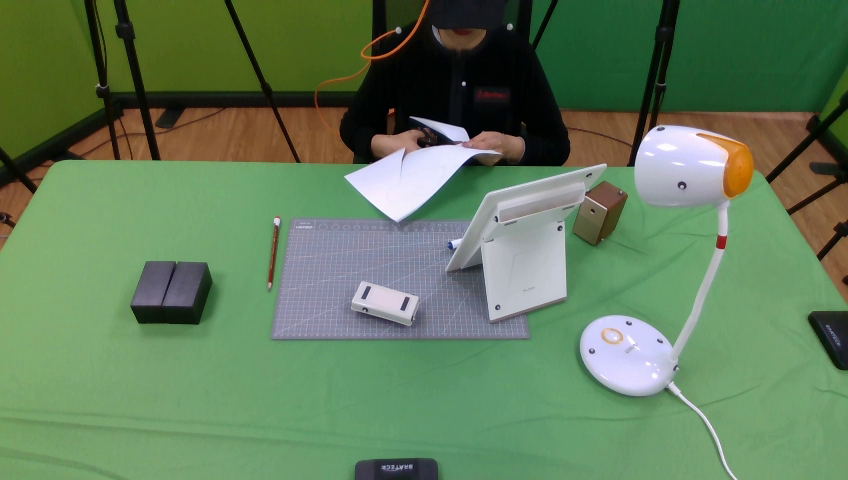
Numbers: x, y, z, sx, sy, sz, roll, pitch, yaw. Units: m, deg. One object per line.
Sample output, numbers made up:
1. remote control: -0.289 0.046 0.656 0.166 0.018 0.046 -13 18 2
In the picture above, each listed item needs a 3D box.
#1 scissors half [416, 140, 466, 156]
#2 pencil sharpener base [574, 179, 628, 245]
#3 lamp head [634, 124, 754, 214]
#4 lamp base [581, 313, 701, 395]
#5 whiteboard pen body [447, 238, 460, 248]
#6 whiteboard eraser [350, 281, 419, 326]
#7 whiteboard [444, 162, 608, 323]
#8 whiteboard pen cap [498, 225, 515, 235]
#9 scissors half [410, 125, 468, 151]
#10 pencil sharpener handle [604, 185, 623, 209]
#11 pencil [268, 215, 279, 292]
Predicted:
1. scissors half: 0.039 -0.212 1.390 0.013 0.040 0.174 -42 28 -26
2. pencil sharpener base: 0.355 -0.057 1.217 0.076 0.107 0.061 -33 56 -31
3. lamp head: 0.351 -0.089 0.775 0.112 0.113 0.122 -30 30 -28
4. lamp base: 0.361 0.144 0.972 0.178 0.181 0.160 34 53 23
5. whiteboard pen body: 0.112 -0.006 1.203 0.141 0.017 0.017 -14 49 -18
6. whiteboard eraser: -0.069 0.113 1.065 0.112 0.042 0.055 14 46 9
7. whiteboard: 0.186 0.025 1.029 0.217 0.306 0.143 -14 68 -18
8. whiteboard pen cap: 0.166 -0.019 1.222 0.033 0.018 0.018 -14 49 -19
9. scissors half: 0.032 -0.228 1.377 0.174 0.040 0.013 28 63 34
10. pencil sharpener handle: 0.390 -0.091 1.235 0.030 0.068 0.036 -33 69 -31
11. pencil: -0.290 0.023 1.164 0.012 0.012 0.192 -2 48 -6
